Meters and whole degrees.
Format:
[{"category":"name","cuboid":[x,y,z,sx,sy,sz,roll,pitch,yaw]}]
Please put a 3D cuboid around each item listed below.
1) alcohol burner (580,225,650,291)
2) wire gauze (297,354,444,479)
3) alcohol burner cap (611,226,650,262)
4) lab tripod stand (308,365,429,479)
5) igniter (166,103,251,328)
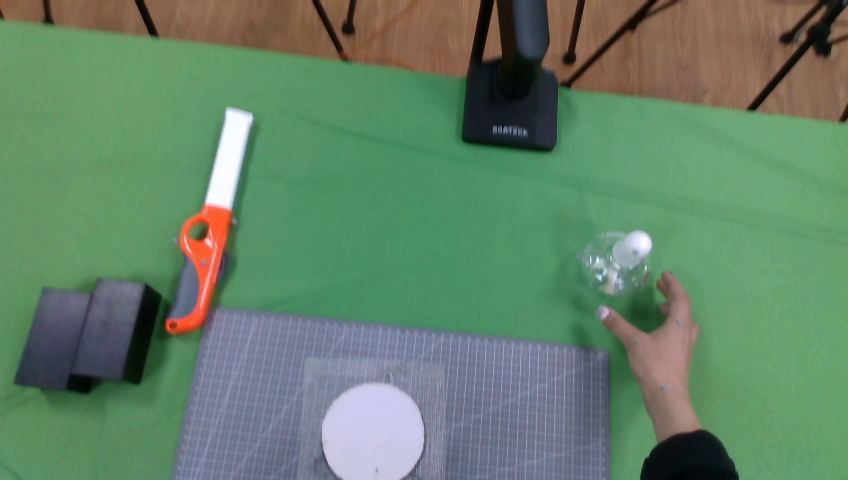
[{"category":"alcohol burner","cuboid":[0.217,0.014,0.671,0.078,0.120,0.077,2,69,-4]},{"category":"wire gauze","cuboid":[-0.045,0.158,0.516,0.125,0.011,0.120,3,70,-4]},{"category":"alcohol burner cap","cuboid":[0.220,0.002,0.637,0.034,0.048,0.033,0,75,0]},{"category":"lab tripod stand","cuboid":[-0.048,0.183,0.578,0.148,0.132,0.147,1,70,-2]},{"category":"igniter","cuboid":[-0.242,-0.033,0.694,0.057,0.025,0.275,13,70,-16]}]
